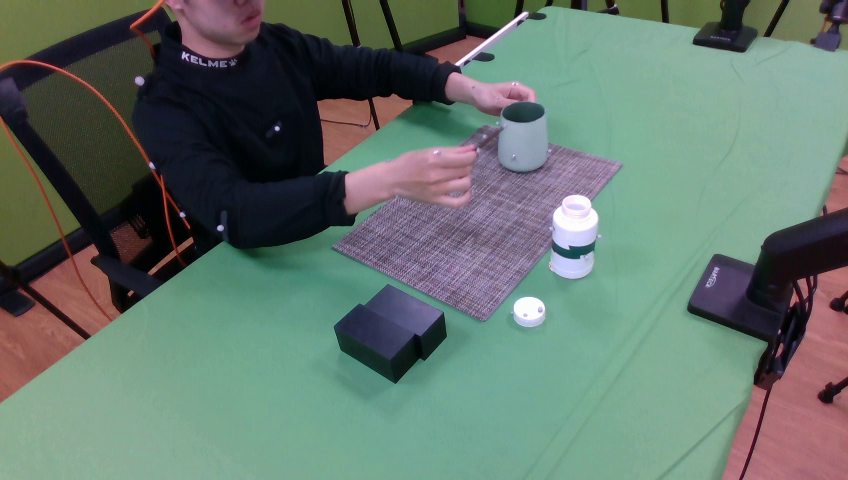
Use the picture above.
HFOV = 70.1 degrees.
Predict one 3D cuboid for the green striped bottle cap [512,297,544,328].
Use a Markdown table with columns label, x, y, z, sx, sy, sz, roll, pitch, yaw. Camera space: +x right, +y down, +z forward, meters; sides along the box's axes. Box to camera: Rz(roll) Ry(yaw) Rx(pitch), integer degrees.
| label | x | y | z | sx | sy | sz | roll | pitch | yaw |
| --- | --- | --- | --- | --- | --- | --- | --- | --- | --- |
| green striped bottle cap | 0.144 | 0.100 | 0.837 | 0.044 | 0.020 | 0.044 | -1 | 41 | 1 |

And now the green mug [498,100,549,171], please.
| label | x | y | z | sx | sy | sz | roll | pitch | yaw |
| --- | --- | --- | --- | --- | --- | --- | --- | --- | --- |
| green mug | 0.182 | -0.197 | 1.101 | 0.092 | 0.105 | 0.125 | 2 | 41 | 12 |

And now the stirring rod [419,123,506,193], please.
| label | x | y | z | sx | sy | sz | roll | pitch | yaw |
| --- | --- | --- | --- | --- | --- | --- | --- | --- | --- |
| stirring rod | 0.053 | -0.117 | 0.884 | 0.175 | 0.006 | 0.014 | -36 | 3 | 34 |

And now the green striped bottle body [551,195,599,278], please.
| label | x | y | z | sx | sy | sz | roll | pitch | yaw |
| --- | --- | --- | --- | --- | --- | --- | --- | --- | --- |
| green striped bottle body | 0.217 | -0.007 | 0.870 | 0.063 | 0.120 | 0.063 | -4 | 41 | 4 |
